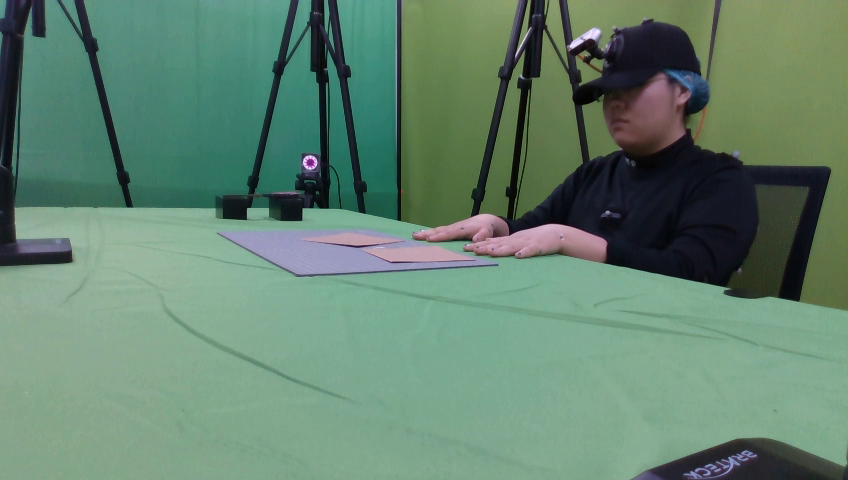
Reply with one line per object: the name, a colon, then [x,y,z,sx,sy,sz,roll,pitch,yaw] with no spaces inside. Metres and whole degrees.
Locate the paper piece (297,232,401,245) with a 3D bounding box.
paper piece: [-0.128,-0.003,1.052,0.135,0.004,0.136,7,8,33]

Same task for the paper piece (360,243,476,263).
paper piece: [-0.012,0.020,0.914,0.136,0.008,0.137,-4,10,-24]

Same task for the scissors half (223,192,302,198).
scissors half: [-0.362,-0.100,1.364,0.176,0.013,0.040,-2,11,-23]

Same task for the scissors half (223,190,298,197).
scissors half: [-0.372,-0.105,1.381,0.176,0.013,0.040,-6,18,-38]
